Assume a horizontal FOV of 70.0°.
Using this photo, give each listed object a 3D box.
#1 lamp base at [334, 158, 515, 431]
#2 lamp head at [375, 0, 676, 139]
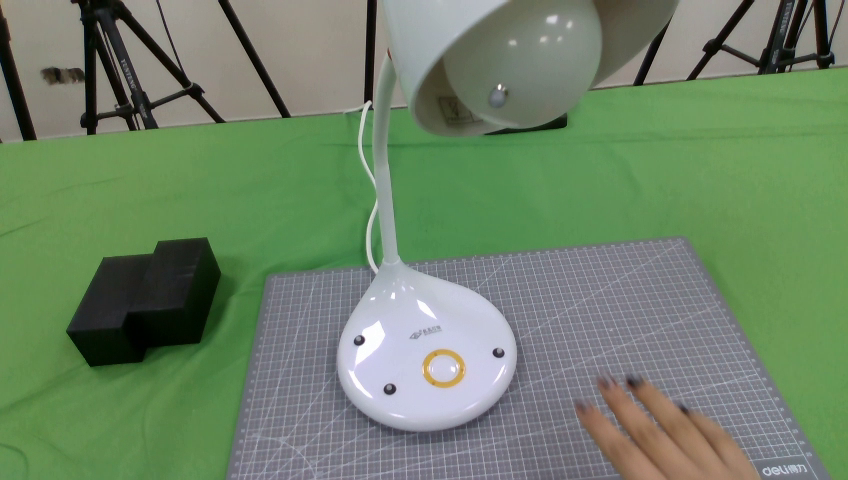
[{"bbox_3d":[-0.012,0.034,0.498,0.161,0.182,0.177,-25,42,-22],"label":"lamp base"},{"bbox_3d":[0.024,-0.117,0.250,0.112,0.113,0.122,-19,72,-17],"label":"lamp head"}]
